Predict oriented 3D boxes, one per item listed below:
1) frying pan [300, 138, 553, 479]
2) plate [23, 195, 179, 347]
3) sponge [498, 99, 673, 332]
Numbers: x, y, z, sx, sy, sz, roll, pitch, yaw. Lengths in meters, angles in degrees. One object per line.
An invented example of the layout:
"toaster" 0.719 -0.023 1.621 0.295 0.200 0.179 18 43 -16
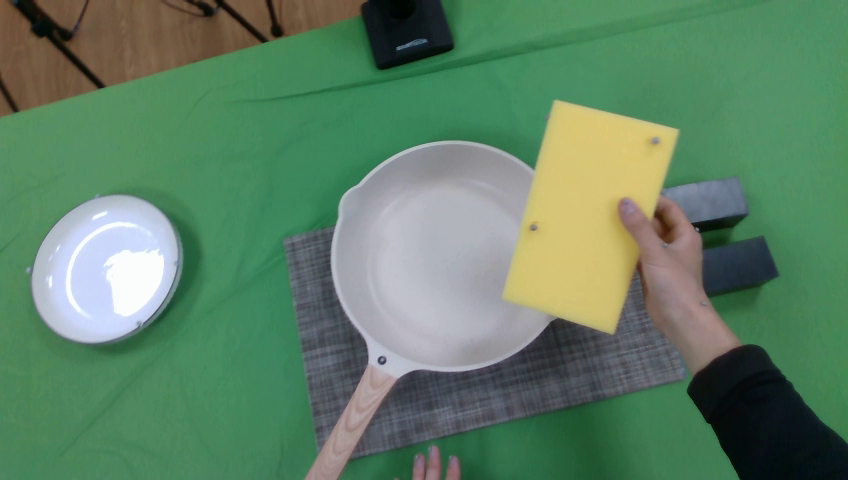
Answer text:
"frying pan" -0.023 0.101 0.720 0.305 0.103 0.486 27 69 14
"plate" -0.427 0.042 0.815 0.207 0.039 0.206 -1 73 5
"sponge" 0.159 -0.026 0.615 0.118 0.061 0.207 15 102 10
